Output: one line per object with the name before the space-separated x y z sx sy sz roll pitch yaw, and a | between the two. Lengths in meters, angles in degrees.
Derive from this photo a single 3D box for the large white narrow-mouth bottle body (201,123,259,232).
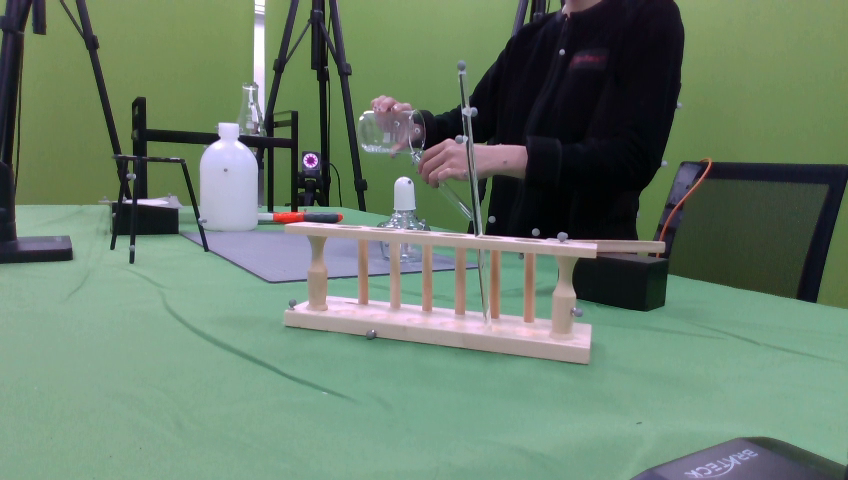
large white narrow-mouth bottle body | -0.358 -0.116 1.116 0.102 0.194 0.102 2 8 0

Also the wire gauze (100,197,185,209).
wire gauze | -0.469 -0.062 1.008 0.126 0.011 0.121 -2 8 -25

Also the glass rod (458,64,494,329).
glass rod | 0.039 -0.029 0.449 0.008 0.199 0.008 -7 9 1

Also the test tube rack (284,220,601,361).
test tube rack | 0.013 0.032 0.482 0.242 0.085 0.067 4 7 16

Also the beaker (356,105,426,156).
beaker | -0.056 -0.184 1.017 0.100 0.084 0.074 4 8 21

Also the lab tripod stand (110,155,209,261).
lab tripod stand | -0.361 -0.046 0.806 0.148 0.131 0.148 2 5 0

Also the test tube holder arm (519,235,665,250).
test tube holder arm | 0.186 0.002 0.656 0.179 0.015 0.013 -1 17 -19

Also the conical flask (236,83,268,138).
conical flask | -0.400 -0.298 1.396 0.075 0.122 0.075 2 8 0

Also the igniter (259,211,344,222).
igniter | -0.302 -0.048 1.249 0.278 0.025 0.057 -2 -2 -27

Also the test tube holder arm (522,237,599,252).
test tube holder arm | 0.144 0.005 0.636 0.088 0.015 0.010 -1 17 -19

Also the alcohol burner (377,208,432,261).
alcohol burner | -0.027 -0.031 0.838 0.078 0.119 0.078 0 6 0

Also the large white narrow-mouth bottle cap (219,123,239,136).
large white narrow-mouth bottle cap | -0.356 -0.201 1.105 0.038 0.024 0.037 2 8 0

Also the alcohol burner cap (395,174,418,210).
alcohol burner cap | -0.026 -0.067 0.833 0.034 0.048 0.034 -2 12 1

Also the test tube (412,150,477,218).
test tube | 0.034 -0.091 0.985 0.150 0.017 0.017 48 24 15
